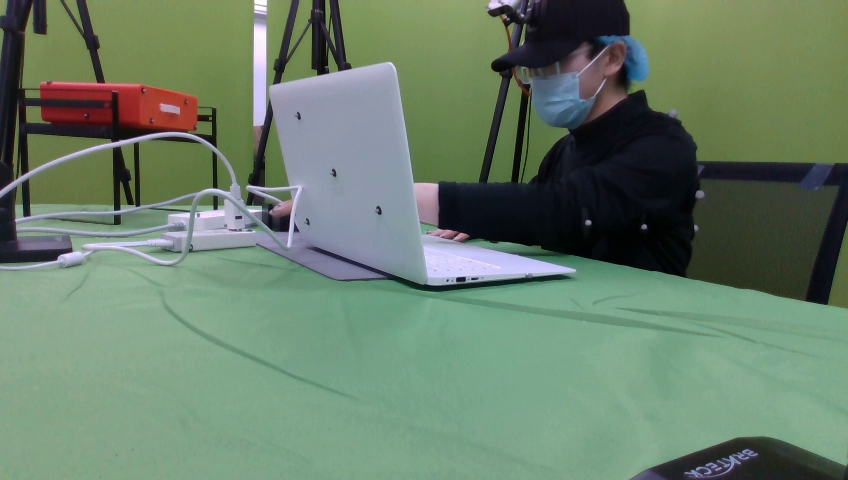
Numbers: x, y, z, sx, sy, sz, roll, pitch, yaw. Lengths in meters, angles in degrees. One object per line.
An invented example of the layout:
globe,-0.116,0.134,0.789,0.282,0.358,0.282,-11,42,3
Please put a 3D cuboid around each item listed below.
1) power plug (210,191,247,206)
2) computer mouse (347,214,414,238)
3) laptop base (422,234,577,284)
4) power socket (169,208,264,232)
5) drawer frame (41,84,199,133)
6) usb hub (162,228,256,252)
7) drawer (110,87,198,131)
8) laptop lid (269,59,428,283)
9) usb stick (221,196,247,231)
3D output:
power plug,-0.386,-0.071,1.204,0.072,0.052,0.035,8,11,25
computer mouse,-0.079,-0.025,1.080,0.117,0.041,0.062,-5,12,-18
laptop base,0.007,0.022,0.850,0.237,0.023,0.352,1,7,-34
power socket,-0.381,-0.038,1.128,0.072,0.032,0.227,4,8,17
drawer frame,-0.604,-0.264,1.225,0.213,0.082,0.202,3,8,8
usb hub,-0.315,0.000,0.893,0.049,0.025,0.126,8,10,41
drawer,-0.602,-0.263,1.225,0.211,0.073,0.195,3,8,10
laptop lid,-0.110,-0.087,0.752,0.013,0.241,0.355,-18,19,-30
usb stick,-0.290,-0.036,0.921,0.027,0.059,0.021,14,4,31
